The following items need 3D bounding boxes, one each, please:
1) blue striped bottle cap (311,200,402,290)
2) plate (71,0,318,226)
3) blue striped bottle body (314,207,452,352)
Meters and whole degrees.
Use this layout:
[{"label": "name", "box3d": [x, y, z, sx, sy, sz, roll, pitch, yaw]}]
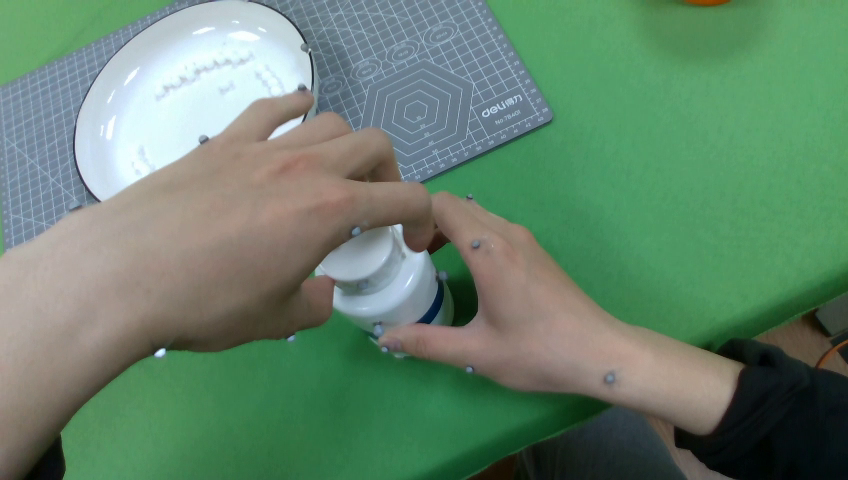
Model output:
[{"label": "blue striped bottle cap", "box3d": [-0.035, 0.002, 0.312, 0.044, 0.021, 0.044, -6, 66, 13]}, {"label": "plate", "box3d": [-0.181, -0.102, 0.492, 0.207, 0.039, 0.206, -5, 67, 11]}, {"label": "blue striped bottle body", "box3d": [-0.024, 0.023, 0.360, 0.063, 0.122, 0.062, -5, 66, 11]}]
